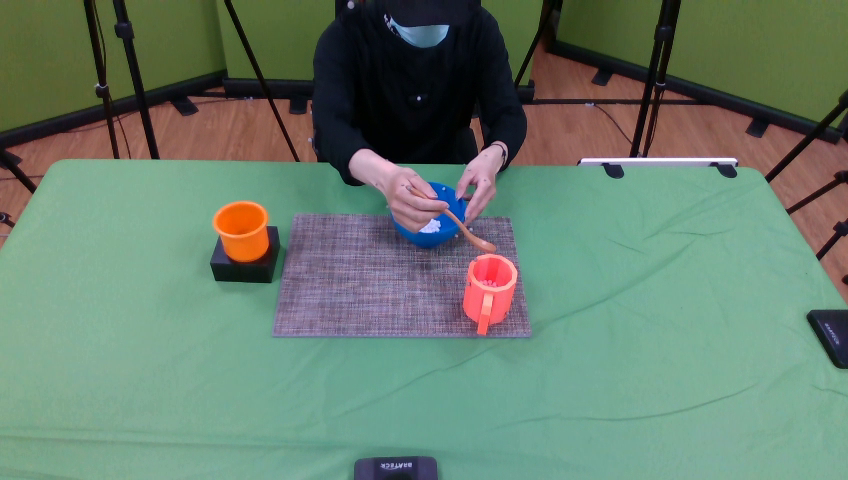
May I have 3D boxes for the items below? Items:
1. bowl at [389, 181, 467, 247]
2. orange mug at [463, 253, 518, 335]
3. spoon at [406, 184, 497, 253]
[{"bbox_3d":[0.006,-0.039,1.189,0.151,0.077,0.150,2,46,-2],"label":"bowl"},{"bbox_3d":[0.113,0.098,1.050,0.083,0.101,0.125,10,41,5],"label":"orange mug"},{"bbox_3d":[0.047,-0.036,0.998,0.194,0.021,0.041,40,22,-21],"label":"spoon"}]
